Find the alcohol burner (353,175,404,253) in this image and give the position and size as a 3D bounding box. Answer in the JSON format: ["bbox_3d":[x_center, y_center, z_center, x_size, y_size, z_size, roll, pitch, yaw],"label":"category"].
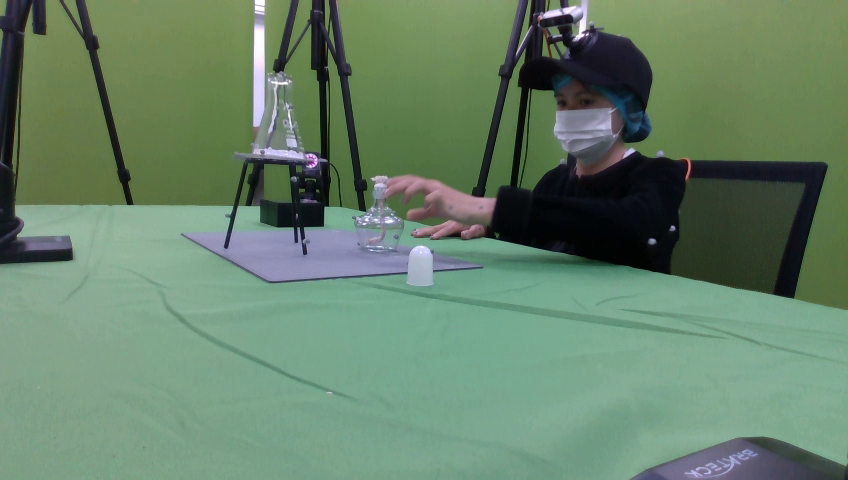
[{"bbox_3d":[-0.070,-0.040,0.927,0.078,0.119,0.078,1,9,0],"label":"alcohol burner"}]

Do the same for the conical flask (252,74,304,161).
[{"bbox_3d":[-0.211,-0.177,0.879,0.075,0.122,0.075,3,6,0],"label":"conical flask"}]

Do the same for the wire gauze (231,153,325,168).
[{"bbox_3d":[-0.215,-0.117,0.882,0.125,0.011,0.121,3,7,-19],"label":"wire gauze"}]

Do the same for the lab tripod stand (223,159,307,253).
[{"bbox_3d":[-0.220,-0.053,0.896,0.148,0.131,0.148,1,6,0],"label":"lab tripod stand"}]

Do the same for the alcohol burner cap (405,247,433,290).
[{"bbox_3d":[-0.005,0.031,0.698,0.034,0.048,0.034,3,8,0],"label":"alcohol burner cap"}]
